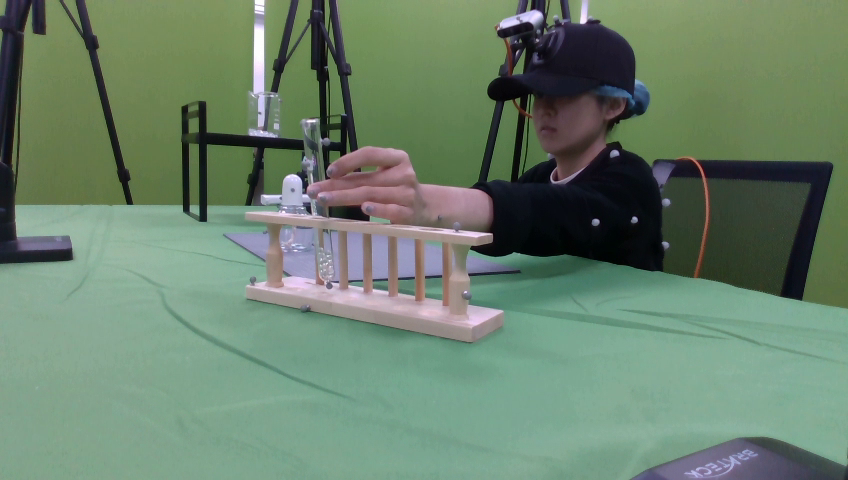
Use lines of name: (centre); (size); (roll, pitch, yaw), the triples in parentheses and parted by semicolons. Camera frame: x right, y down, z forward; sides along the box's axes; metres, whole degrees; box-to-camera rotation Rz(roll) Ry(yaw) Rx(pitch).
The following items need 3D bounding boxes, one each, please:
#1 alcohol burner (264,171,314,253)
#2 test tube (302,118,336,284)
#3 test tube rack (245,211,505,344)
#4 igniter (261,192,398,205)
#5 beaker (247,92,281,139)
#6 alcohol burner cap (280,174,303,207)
alcohol burner: (-0.194, -0.042, 0.888); (0.078, 0.119, 0.078); (3, 5, 0)
test tube: (-0.094, -0.033, 0.541); (0.017, 0.150, 0.017); (-3, 15, 1)
test tube rack: (-0.049, 0.025, 0.547); (0.241, 0.085, 0.067); (7, 8, 29)
igniter: (-0.185, -0.083, 1.217); (0.278, 0.025, 0.057); (-2, 12, -25)
beaker: (-0.361, -0.280, 1.359); (0.074, 0.100, 0.084); (4, 8, 8)
alcohol burner cap: (-0.194, -0.072, 0.884); (0.034, 0.048, 0.034); (1, 5, 0)
